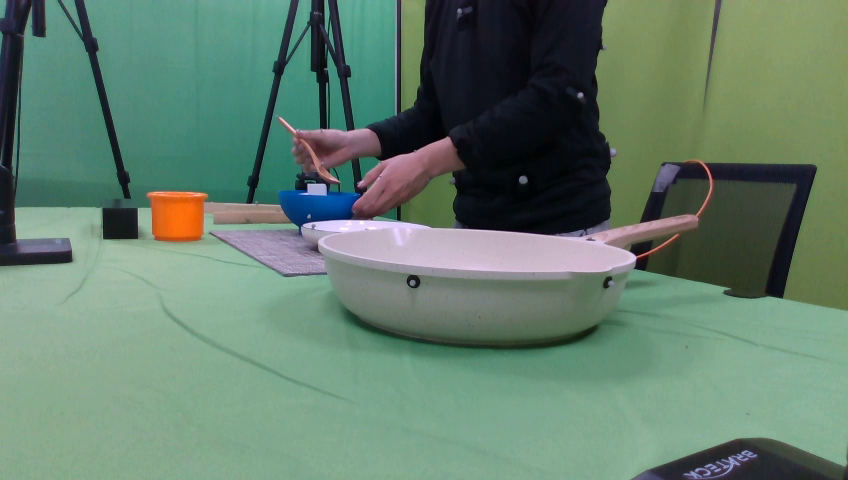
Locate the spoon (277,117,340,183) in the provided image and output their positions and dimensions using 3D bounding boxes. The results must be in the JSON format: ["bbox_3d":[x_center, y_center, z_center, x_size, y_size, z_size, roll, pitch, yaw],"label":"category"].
[{"bbox_3d":[-0.226,-0.176,1.174,0.193,0.021,0.042,51,19,16],"label":"spoon"}]

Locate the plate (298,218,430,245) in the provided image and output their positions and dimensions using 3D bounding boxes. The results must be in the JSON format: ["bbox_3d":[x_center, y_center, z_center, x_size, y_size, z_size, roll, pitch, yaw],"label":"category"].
[{"bbox_3d":[-0.091,-0.006,0.949,0.208,0.039,0.207,2,8,0],"label":"plate"}]

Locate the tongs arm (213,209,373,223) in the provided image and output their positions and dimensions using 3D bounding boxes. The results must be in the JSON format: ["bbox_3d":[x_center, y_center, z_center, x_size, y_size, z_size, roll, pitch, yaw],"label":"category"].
[{"bbox_3d":[-0.274,-0.054,1.347,0.390,0.028,0.028,-3,7,-37],"label":"tongs arm"}]

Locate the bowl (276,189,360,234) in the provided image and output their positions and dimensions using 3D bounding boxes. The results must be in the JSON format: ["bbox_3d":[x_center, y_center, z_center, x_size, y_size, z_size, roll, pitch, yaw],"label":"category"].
[{"bbox_3d":[-0.195,-0.051,1.114,0.151,0.077,0.151,2,7,0],"label":"bowl"}]

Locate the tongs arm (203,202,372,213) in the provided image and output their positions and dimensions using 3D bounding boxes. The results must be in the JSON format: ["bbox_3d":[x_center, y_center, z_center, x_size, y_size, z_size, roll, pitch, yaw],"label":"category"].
[{"bbox_3d":[-0.312,-0.068,1.417,0.387,0.026,0.050,1,8,-24],"label":"tongs arm"}]

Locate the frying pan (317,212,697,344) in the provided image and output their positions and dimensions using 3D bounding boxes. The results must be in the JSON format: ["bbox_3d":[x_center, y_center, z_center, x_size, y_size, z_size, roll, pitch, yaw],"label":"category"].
[{"bbox_3d":[0.133,0.013,0.629,0.490,0.102,0.305,-12,14,-31],"label":"frying pan"}]
